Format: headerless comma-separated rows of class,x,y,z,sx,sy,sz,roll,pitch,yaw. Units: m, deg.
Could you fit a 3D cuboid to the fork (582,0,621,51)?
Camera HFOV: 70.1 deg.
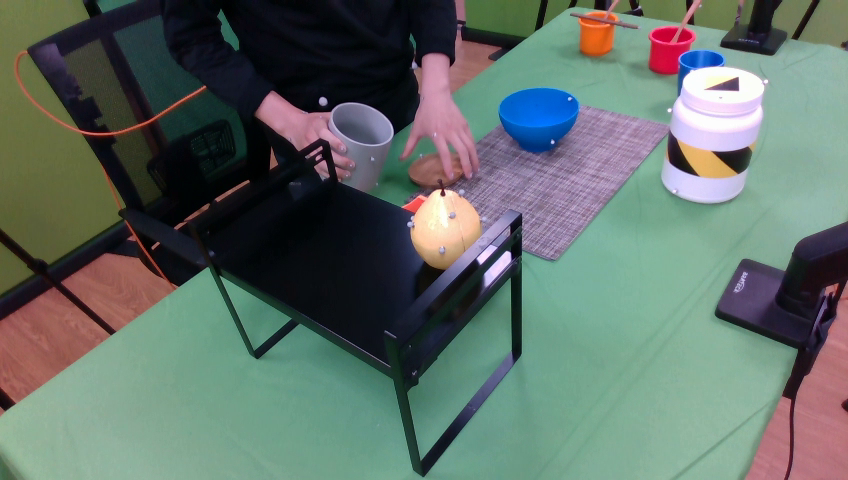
fork,0.446,-0.539,1.438,0.207,0.019,0.028,-57,36,12

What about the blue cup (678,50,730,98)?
blue cup,0.542,-0.310,1.194,0.092,0.101,0.092,-6,41,6

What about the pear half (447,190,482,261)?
pear half,0.046,-0.020,0.664,0.031,0.088,0.070,-17,38,-9

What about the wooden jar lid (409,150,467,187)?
wooden jar lid,0.026,-0.131,1.124,0.108,0.021,0.108,-6,37,5

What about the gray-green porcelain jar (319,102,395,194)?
gray-green porcelain jar,-0.116,-0.148,1.013,0.106,0.126,0.105,13,46,-14

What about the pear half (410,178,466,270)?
pear half,0.011,-0.019,0.654,0.056,0.110,0.076,-16,37,-9

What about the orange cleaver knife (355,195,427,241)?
orange cleaver knife,-0.037,-0.029,0.973,0.210,0.077,0.012,-8,33,50

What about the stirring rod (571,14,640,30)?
stirring rod,0.419,-0.508,1.404,0.174,0.006,0.014,28,55,35

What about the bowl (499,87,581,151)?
bowl,0.220,-0.223,1.156,0.151,0.077,0.150,-4,40,4

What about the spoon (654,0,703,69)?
spoon,0.569,-0.462,1.335,0.041,0.022,0.193,34,99,37

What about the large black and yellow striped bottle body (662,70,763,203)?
large black and yellow striped bottle body,0.464,-0.166,0.976,0.131,0.185,0.130,-5,41,5

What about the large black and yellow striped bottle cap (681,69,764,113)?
large black and yellow striped bottle cap,0.453,-0.229,0.921,0.115,0.019,0.114,-4,39,4
